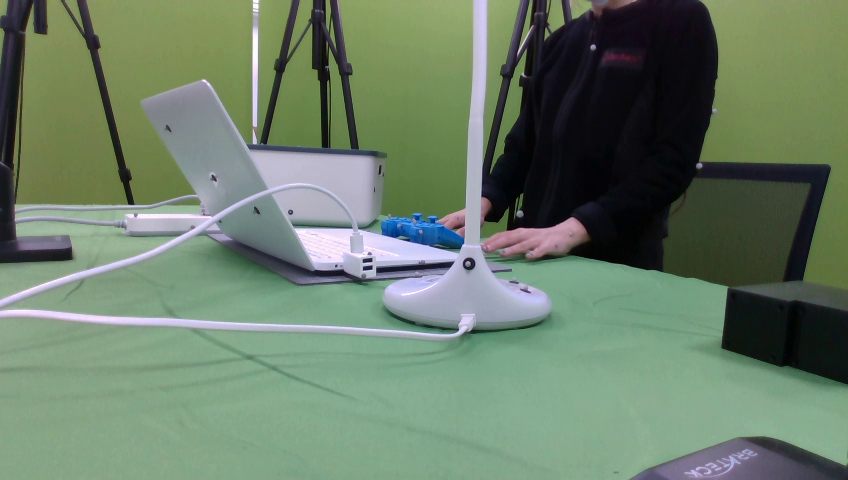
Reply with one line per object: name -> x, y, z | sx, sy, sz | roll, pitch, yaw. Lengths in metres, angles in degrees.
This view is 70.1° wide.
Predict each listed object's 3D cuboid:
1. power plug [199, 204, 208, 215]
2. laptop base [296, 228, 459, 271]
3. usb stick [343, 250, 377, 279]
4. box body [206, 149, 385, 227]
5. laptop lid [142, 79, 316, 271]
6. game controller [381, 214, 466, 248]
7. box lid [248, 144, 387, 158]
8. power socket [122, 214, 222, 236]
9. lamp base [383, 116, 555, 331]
power plug -> -0.387, -0.055, 1.089 | 0.035, 0.052, 0.072 | -1, 7, -22
laptop base -> -0.122, 0.011, 0.889 | 0.237, 0.023, 0.352 | 2, 6, -35
usb stick -> -0.076, 0.026, 0.687 | 0.021, 0.027, 0.059 | -9, 9, -31
box body -> -0.276, -0.124, 1.334 | 0.364, 0.160, 0.254 | 3, 7, 1
laptop lid -> -0.265, -0.082, 0.775 | 0.013, 0.242, 0.355 | -37, 28, -25
game controller -> -0.006, -0.017, 1.039 | 0.097, 0.051, 0.154 | -6, 10, -33
box lid -> -0.275, -0.197, 1.326 | 0.372, 0.015, 0.263 | 4, 8, 1
power socket -> -0.398, -0.028, 1.049 | 0.228, 0.032, 0.072 | -3, 8, -34
lamp base -> 0.045, -0.019, 0.547 | 0.161, 0.180, 0.179 | 2, 10, -4
